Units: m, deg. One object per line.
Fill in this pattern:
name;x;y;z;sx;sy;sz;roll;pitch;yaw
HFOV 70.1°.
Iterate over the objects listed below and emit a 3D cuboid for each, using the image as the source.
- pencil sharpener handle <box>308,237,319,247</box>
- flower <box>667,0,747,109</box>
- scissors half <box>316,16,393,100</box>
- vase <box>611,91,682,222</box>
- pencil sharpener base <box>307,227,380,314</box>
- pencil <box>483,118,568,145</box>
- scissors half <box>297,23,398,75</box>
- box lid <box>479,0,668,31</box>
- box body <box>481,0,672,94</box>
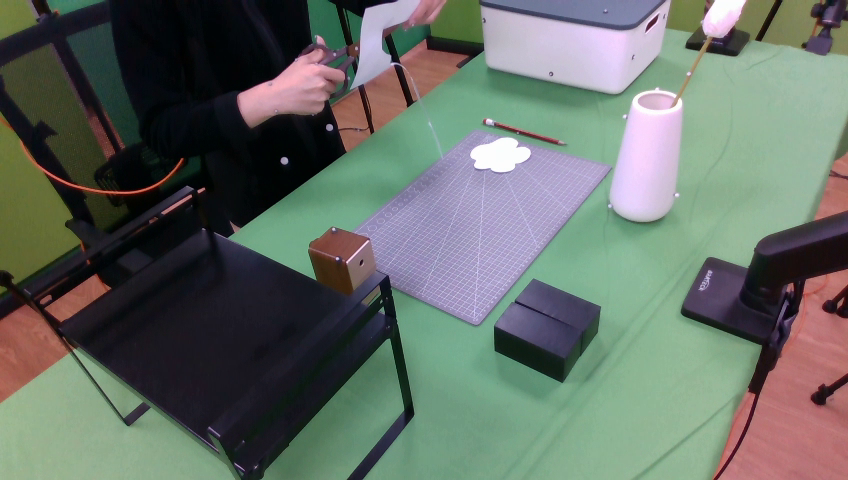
pencil sharpener handle;-0.159;0.017;0.892;0.030;0.068;0.036;18;60;28
flower;0.354;-0.187;0.879;0.038;0.362;0.044;30;48;14
scissors half;-0.107;-0.281;0.938;0.040;0.175;0.013;40;26;-13
vase;0.348;-0.125;0.935;0.098;0.201;0.097;-3;40;3
pencil sharpener base;-0.116;0.043;0.875;0.076;0.107;0.061;18;47;28
pencil;0.201;-0.217;1.212;0.192;0.012;0.012;24;49;29
scissors half;-0.120;-0.298;0.931;0.175;0.040;0.013;-16;29;14
box lid;0.335;-0.536;1.331;0.368;0.015;0.264;23;49;30
box body;0.341;-0.480;1.381;0.361;0.161;0.255;22;48;30
